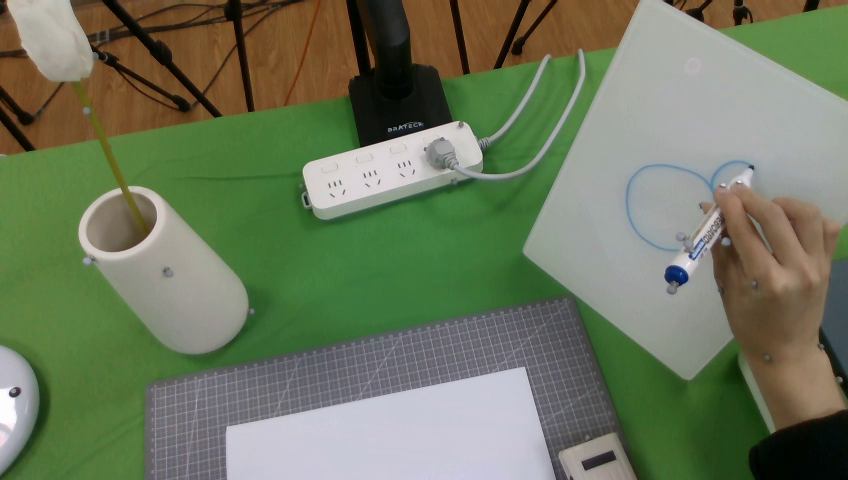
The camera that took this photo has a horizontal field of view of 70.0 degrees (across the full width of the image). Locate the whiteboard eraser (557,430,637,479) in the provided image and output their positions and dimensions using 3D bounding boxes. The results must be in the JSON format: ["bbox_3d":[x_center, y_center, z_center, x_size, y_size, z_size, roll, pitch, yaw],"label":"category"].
[{"bbox_3d":[0.164,0.229,0.533,0.056,0.042,0.111,-16,61,-9],"label":"whiteboard eraser"}]

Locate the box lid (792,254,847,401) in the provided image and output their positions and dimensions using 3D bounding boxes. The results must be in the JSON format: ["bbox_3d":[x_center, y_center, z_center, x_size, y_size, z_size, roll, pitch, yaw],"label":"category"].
[{"bbox_3d":[0.454,0.152,0.417,0.263,0.015,0.368,-12,63,-5],"label":"box lid"}]

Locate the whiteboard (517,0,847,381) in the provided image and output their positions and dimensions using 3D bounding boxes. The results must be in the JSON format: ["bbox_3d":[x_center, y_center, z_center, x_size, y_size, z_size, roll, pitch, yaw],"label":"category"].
[{"bbox_3d":[0.258,-0.053,0.574,0.215,0.307,0.144,40,50,21],"label":"whiteboard"}]

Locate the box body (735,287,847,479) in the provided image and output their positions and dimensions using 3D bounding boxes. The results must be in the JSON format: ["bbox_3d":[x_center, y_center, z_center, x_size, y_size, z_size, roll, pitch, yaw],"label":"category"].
[{"bbox_3d":[0.456,0.190,0.481,0.254,0.161,0.360,-12,62,-5],"label":"box body"}]

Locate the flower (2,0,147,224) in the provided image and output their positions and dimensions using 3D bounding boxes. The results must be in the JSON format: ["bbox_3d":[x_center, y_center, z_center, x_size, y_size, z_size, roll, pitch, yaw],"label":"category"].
[{"bbox_3d":[-0.237,-0.024,0.502,0.038,0.365,0.043,-22,44,-18],"label":"flower"}]

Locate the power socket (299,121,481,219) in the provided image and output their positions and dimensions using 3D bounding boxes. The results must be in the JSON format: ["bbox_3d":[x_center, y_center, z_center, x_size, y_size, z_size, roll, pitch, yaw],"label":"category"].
[{"bbox_3d":[-0.039,-0.084,0.719,0.227,0.033,0.071,-16,63,-8],"label":"power socket"}]

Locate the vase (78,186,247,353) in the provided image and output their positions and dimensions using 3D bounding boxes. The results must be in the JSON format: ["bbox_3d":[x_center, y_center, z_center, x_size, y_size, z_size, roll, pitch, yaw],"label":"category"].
[{"bbox_3d":[-0.237,0.033,0.564,0.098,0.201,0.097,-1,61,3],"label":"vase"}]

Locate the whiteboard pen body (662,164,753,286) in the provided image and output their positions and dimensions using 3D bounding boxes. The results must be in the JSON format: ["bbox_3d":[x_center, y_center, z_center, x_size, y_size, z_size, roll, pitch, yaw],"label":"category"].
[{"bbox_3d":[0.207,-0.016,0.432,0.017,0.017,0.140,36,59,20],"label":"whiteboard pen body"}]

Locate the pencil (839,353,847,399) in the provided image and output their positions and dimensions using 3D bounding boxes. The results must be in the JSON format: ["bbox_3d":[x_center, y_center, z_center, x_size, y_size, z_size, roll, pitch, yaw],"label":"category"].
[{"bbox_3d":[0.403,0.199,0.559,0.012,0.012,0.192,7,64,6],"label":"pencil"}]

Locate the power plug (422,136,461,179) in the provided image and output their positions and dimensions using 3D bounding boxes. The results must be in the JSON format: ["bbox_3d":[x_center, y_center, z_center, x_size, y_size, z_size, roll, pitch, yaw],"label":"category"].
[{"bbox_3d":[0.019,-0.086,0.692,0.035,0.053,0.072,-8,63,-2],"label":"power plug"}]

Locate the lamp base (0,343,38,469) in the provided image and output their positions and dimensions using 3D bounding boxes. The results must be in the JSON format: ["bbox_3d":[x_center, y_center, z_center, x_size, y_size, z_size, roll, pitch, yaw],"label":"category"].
[{"bbox_3d":[-0.475,0.132,0.526,0.178,0.182,0.160,17,62,14],"label":"lamp base"}]
